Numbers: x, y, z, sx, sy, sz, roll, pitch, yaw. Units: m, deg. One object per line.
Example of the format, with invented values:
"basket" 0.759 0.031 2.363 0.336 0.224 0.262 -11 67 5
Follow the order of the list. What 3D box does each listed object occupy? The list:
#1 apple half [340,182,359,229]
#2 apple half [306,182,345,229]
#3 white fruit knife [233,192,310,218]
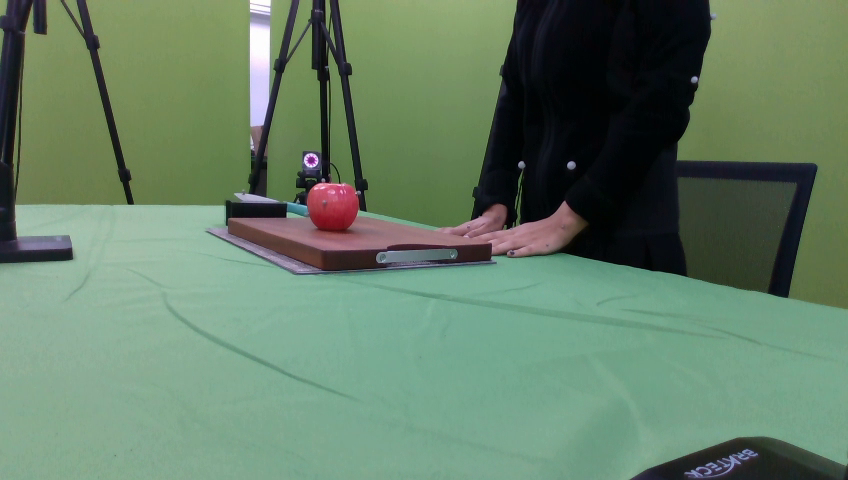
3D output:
"apple half" -0.120 -0.056 0.963 0.033 0.081 0.081 -5 9 -20
"apple half" -0.157 -0.054 0.950 0.053 0.074 0.080 -5 13 -20
"white fruit knife" -0.276 -0.066 1.210 0.208 0.027 0.016 14 0 -24
